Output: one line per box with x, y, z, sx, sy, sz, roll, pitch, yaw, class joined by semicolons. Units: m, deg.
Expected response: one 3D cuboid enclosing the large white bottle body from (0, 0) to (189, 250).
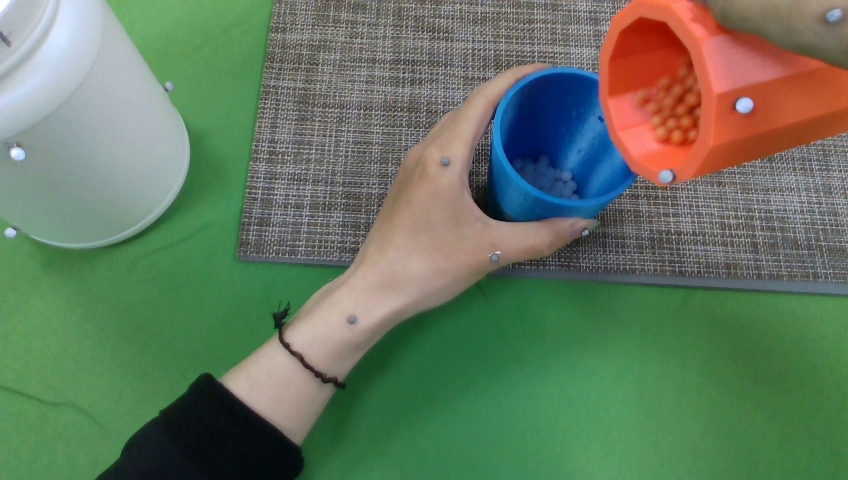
-0.225;-0.082;0.337;0.131;0.185;0.129;1;70;-2;large white bottle body

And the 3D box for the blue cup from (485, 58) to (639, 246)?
0.076;-0.041;0.372;0.093;0.101;0.092;1;70;-4;blue cup

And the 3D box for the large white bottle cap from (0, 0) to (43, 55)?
-0.224;-0.113;0.259;0.115;0.018;0.114;1;70;-2;large white bottle cap

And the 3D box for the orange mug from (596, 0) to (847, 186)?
0.146;-0.089;0.274;0.101;0.127;0.082;-19;61;-8;orange mug
